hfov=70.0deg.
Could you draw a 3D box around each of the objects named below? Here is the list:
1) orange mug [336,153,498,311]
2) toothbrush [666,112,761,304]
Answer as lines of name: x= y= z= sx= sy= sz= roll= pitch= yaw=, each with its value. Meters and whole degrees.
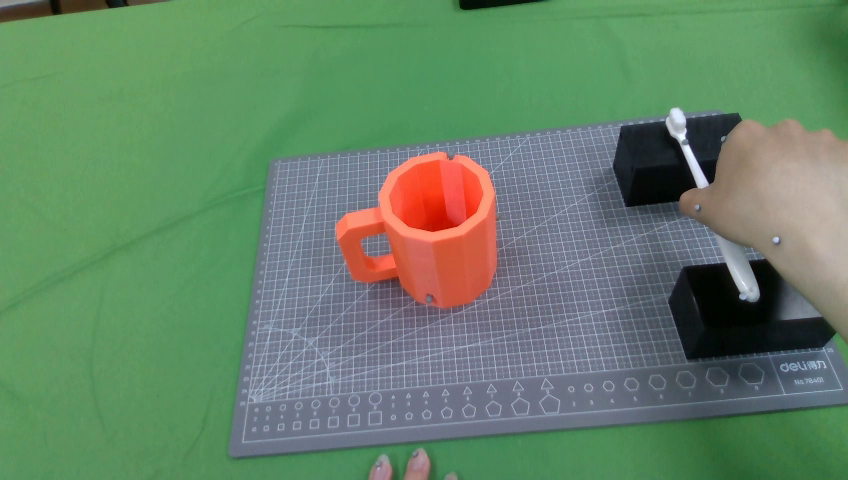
orange mug: x=-0.003 y=-0.001 z=0.479 sx=0.126 sy=0.102 sz=0.082 roll=-10 pitch=54 yaw=-5
toothbrush: x=0.218 y=-0.032 z=0.461 sx=0.014 sy=0.017 sz=0.180 roll=-6 pitch=55 yaw=1
